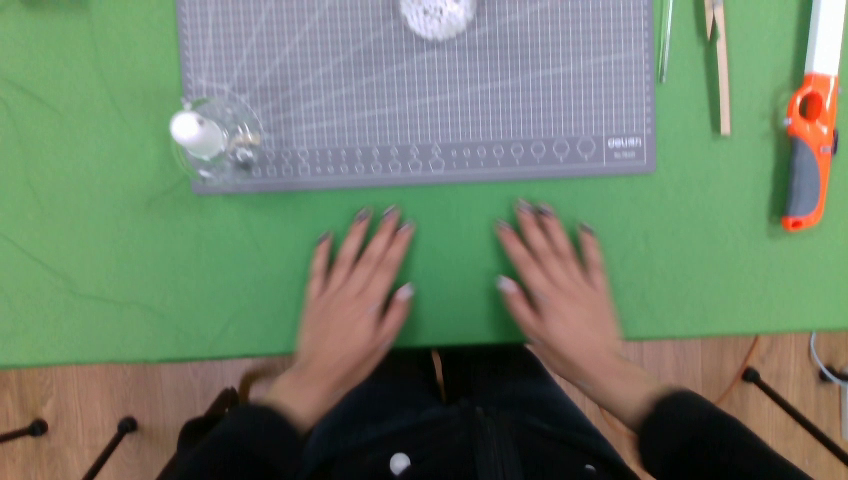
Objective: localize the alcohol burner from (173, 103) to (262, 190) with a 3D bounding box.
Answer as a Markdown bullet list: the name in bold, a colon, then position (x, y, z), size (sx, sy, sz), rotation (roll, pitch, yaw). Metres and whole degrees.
- **alcohol burner**: position (-0.185, -0.084, 0.528), size (0.078, 0.119, 0.078), rotation (0, 92, 0)

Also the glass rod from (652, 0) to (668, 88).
- **glass rod**: position (0.235, -0.248, 0.586), size (0.008, 0.008, 0.200), rotation (4, 96, -2)

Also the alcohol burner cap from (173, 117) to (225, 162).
- **alcohol burner cap**: position (-0.185, -0.084, 0.492), size (0.034, 0.048, 0.034), rotation (0, 85, -1)

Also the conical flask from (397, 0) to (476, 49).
- **conical flask**: position (0.013, -0.216, 0.522), size (0.075, 0.121, 0.075), rotation (0, 93, -1)

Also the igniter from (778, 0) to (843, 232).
- **igniter**: position (0.379, -0.145, 0.588), size (0.057, 0.025, 0.276), rotation (4, 94, -12)

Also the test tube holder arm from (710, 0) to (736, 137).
- **test tube holder arm**: position (0.285, -0.188, 0.585), size (0.013, 0.015, 0.178), rotation (-8, 94, 35)

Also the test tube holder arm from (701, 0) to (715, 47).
- **test tube holder arm**: position (0.273, -0.232, 0.585), size (0.010, 0.015, 0.088), rotation (-6, 95, 35)
